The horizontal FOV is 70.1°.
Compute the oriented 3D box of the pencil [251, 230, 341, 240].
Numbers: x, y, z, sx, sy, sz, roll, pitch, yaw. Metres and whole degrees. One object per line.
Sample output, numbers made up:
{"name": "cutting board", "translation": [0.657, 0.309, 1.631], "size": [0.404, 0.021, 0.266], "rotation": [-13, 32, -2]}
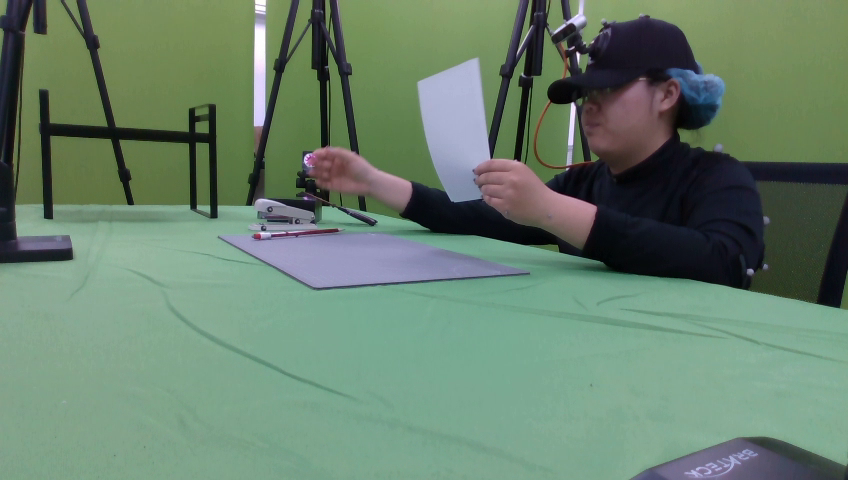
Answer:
{"name": "pencil", "translation": [-0.215, -0.011, 1.049], "size": [0.012, 0.012, 0.195], "rotation": [9, 9, 39]}

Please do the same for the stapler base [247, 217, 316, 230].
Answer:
{"name": "stapler base", "translation": [-0.276, -0.033, 1.172], "size": [0.131, 0.024, 0.041], "rotation": [0, 10, -37]}

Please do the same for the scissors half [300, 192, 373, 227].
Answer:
{"name": "scissors half", "translation": [-0.192, -0.069, 1.313], "size": [0.175, 0.013, 0.040], "rotation": [25, 14, 7]}

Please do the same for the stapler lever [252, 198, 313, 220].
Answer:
{"name": "stapler lever", "translation": [-0.273, -0.058, 1.170], "size": [0.119, 0.040, 0.026], "rotation": [0, 10, -37]}

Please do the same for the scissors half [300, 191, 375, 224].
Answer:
{"name": "scissors half", "translation": [-0.190, -0.073, 1.333], "size": [0.175, 0.013, 0.040], "rotation": [22, 9, -11]}
